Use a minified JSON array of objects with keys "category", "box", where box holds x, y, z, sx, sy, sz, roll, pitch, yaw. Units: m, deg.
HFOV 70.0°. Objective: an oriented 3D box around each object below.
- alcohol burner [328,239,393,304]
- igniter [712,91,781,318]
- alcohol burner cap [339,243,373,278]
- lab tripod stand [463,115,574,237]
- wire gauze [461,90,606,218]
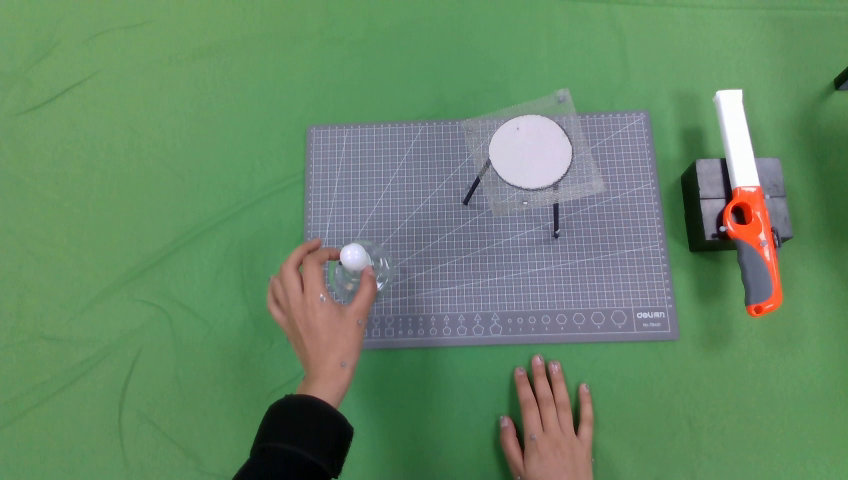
[{"category":"alcohol burner","box":[-0.075,0.033,0.693,0.078,0.119,0.077,0,75,1]},{"category":"igniter","box":[0.369,-0.047,0.697,0.057,0.025,0.274,-2,72,4]},{"category":"alcohol burner cap","box":[-0.075,0.020,0.644,0.034,0.048,0.033,-2,75,6]},{"category":"lab tripod stand","box":[0.118,-0.079,0.706,0.148,0.132,0.147,-1,73,4]},{"category":"wire gauze","box":[0.114,-0.091,0.640,0.125,0.011,0.120,-15,74,-2]}]
